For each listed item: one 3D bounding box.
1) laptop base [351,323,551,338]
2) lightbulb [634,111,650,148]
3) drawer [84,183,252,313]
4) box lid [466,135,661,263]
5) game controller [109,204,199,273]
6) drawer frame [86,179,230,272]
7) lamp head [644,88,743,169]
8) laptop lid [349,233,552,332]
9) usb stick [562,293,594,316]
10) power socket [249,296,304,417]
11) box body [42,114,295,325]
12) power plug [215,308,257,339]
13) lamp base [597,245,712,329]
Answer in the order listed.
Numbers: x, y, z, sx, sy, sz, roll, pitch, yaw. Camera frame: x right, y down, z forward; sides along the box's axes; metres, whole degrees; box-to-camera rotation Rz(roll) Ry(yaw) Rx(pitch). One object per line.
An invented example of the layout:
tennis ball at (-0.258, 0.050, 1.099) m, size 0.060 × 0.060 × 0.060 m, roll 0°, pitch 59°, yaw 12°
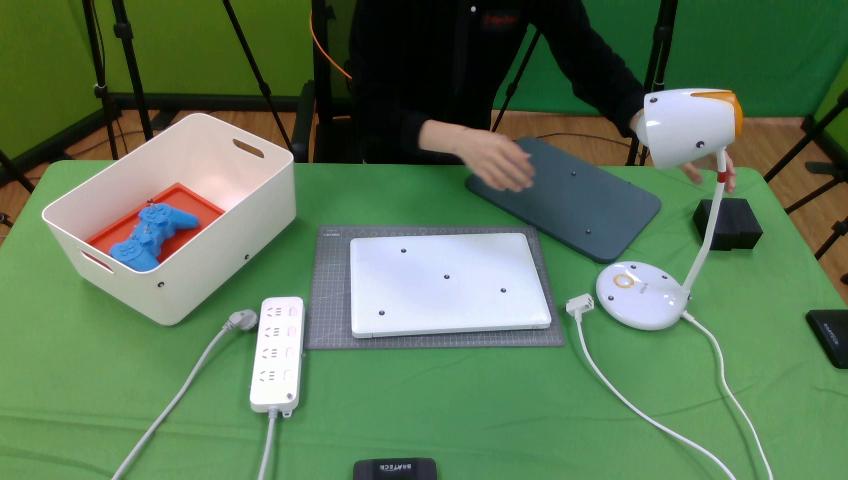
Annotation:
laptop base at (0.040, 0.080, 1.125) m, size 0.355 × 0.023 × 0.234 m, roll -2°, pitch 43°, yaw -6°
lightbulb at (0.348, -0.163, 0.852) m, size 0.059 × 0.060 × 0.107 m, roll -36°, pitch 19°, yaw -32°
drawer at (-0.457, 0.008, 1.099) m, size 0.194 × 0.073 × 0.211 m, roll 29°, pitch 49°, yaw 21°
box lid at (0.306, -0.102, 1.327) m, size 0.370 × 0.015 × 0.263 m, roll 32°, pitch 52°, yaw 25°
game controller at (-0.467, -0.005, 1.044) m, size 0.097 × 0.052 × 0.154 m, roll 8°, pitch 45°, yaw 10°
drawer frame at (-0.453, 0.010, 1.100) m, size 0.201 × 0.083 × 0.213 m, roll 28°, pitch 55°, yaw 22°
lamp head at (0.380, -0.160, 0.851) m, size 0.122 × 0.113 × 0.112 m, roll -4°, pitch 42°, yaw 25°
laptop lid at (0.040, 0.070, 1.119) m, size 0.357 × 0.013 × 0.240 m, roll -1°, pitch 44°, yaw -5°
usb stick at (0.274, 0.118, 1.087) m, size 0.021 × 0.059 × 0.027 m, roll 40°, pitch 44°, yaw -28°
power socket at (-0.239, 0.182, 0.996) m, size 0.072 × 0.033 × 0.225 m, roll -2°, pitch 47°, yaw -5°
box body at (-0.437, -0.046, 1.110) m, size 0.253 × 0.161 × 0.363 m, roll 24°, pitch 49°, yaw 19°
power plug at (-0.317, 0.143, 1.024) m, size 0.072 × 0.053 × 0.035 m, roll -32°, pitch 58°, yaw -9°
lamp base at (0.418, 0.051, 1.072) m, size 0.179 × 0.181 × 0.160 m, roll 22°, pitch 49°, yaw 13°
